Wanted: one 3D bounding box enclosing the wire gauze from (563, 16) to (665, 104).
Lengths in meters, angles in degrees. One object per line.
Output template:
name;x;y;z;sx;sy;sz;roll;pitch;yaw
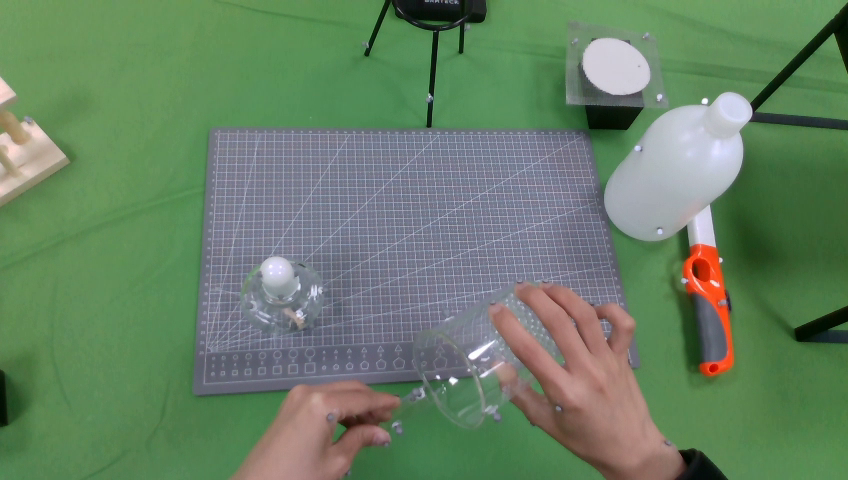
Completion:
wire gauze;0.227;-0.217;0.735;0.122;0.011;0.124;6;66;-6

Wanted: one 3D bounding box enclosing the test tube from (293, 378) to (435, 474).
test tube;-0.051;0.149;0.477;0.150;0.017;0.017;-37;71;23

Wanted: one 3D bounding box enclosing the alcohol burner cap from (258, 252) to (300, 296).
alcohol burner cap;-0.129;0.028;0.531;0.034;0.048;0.033;1;71;-4

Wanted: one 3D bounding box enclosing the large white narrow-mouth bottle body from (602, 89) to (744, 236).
large white narrow-mouth bottle body;0.266;-0.085;0.635;0.102;0.195;0.101;3;66;-6

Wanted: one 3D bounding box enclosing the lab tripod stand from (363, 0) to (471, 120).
lab tripod stand;0.001;-0.234;0.695;0.149;0.132;0.147;4;67;-8

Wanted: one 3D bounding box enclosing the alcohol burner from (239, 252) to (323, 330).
alcohol burner;-0.133;0.041;0.564;0.078;0.120;0.077;4;65;-8

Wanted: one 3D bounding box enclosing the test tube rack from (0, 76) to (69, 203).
test tube rack;-0.481;-0.051;0.572;0.066;0.085;0.242;44;68;11

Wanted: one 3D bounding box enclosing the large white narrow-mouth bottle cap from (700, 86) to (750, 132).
large white narrow-mouth bottle cap;0.276;-0.121;0.558;0.038;0.024;0.037;3;66;-6

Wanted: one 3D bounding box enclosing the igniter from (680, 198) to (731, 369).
igniter;0.315;0.012;0.691;0.057;0.025;0.274;12;65;-17

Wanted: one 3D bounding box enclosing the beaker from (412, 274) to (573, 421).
beaker;0.052;0.075;0.441;0.100;0.084;0.073;-26;73;-31
